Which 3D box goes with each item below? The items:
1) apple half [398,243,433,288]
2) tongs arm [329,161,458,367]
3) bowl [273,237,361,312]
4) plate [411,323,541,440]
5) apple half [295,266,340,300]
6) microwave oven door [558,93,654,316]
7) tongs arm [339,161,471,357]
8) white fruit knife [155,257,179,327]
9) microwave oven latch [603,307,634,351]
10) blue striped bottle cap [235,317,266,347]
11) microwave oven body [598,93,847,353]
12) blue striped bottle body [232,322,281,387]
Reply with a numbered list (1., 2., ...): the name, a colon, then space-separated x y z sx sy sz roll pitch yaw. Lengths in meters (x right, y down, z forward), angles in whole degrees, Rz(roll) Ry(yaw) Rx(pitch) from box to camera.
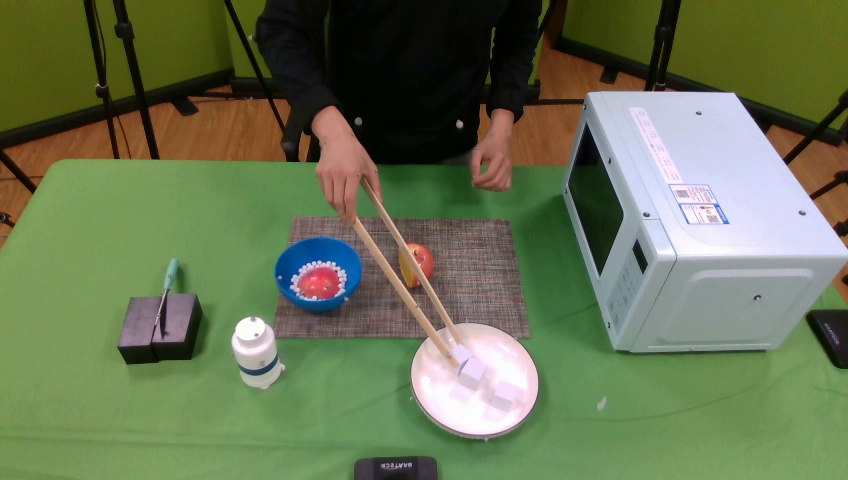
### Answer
1. apple half: -0.011 0.046 1.115 0.053 0.075 0.080 -11 44 -19
2. tongs arm: -0.048 0.039 1.001 0.051 0.026 0.384 -35 87 -28
3. bowl: -0.186 0.074 1.070 0.151 0.077 0.150 3 46 -3
4. plate: 0.082 0.228 0.976 0.208 0.039 0.206 2 45 -2
5. apple half: -0.187 0.070 1.067 0.081 0.033 0.081 2 48 -3
6. microwave oven door: 0.327 -0.074 1.123 0.039 0.245 0.353 0 46 -5
7. tongs arm: -0.030 0.029 1.013 0.028 0.028 0.387 -30 85 -25
8. white fruit knife: -0.440 0.085 1.037 0.016 0.027 0.206 10 26 -19
9. microwave oven latch: 0.332 0.153 1.044 0.030 0.029 0.078 0 45 -4
10. blue striped bottle cap: -0.260 0.137 0.907 0.044 0.021 0.044 2 43 -2
11. microwave oven body: 0.475 -0.041 1.109 0.326 0.261 0.438 -1 45 -4
12. blue striped bottle body: -0.262 0.171 0.944 0.063 0.121 0.062 2 46 -2
